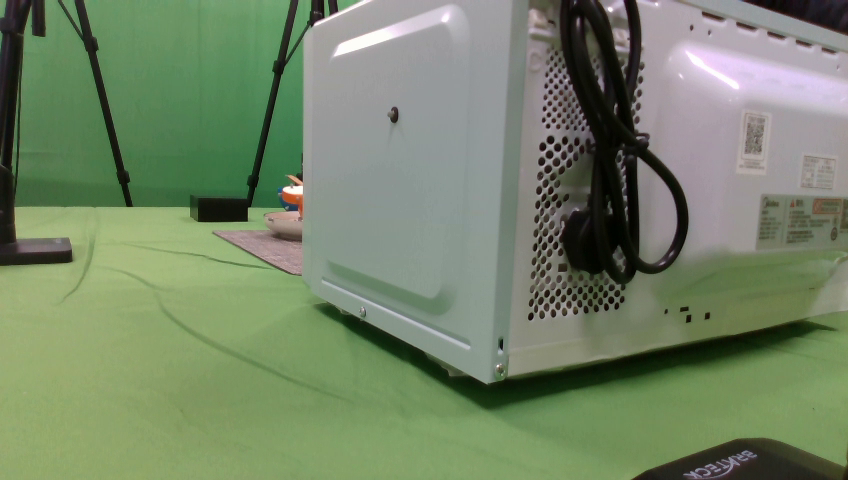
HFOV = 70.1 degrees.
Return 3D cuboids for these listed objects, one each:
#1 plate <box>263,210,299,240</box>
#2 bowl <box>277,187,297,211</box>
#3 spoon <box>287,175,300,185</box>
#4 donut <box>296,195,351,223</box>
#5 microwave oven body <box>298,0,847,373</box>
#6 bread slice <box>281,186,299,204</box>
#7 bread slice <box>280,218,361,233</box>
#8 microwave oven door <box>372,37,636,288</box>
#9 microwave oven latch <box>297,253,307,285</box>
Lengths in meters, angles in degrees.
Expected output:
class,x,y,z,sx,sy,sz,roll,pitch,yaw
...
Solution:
class,x,y,z,sx,sy,sz,roll,pitch,yaw
plate,-0.180,-0.026,1.079,0.208,0.039,0.207,2,7,0
bowl,-0.241,-0.073,1.303,0.151,0.077,0.151,2,7,0
spoon,-0.262,-0.110,1.342,0.042,0.021,0.192,-6,32,-34
donut,-0.179,-0.056,1.078,0.099,0.048,0.099,4,3,0
microwave oven body,0.151,-0.055,0.542,0.444,0.260,0.324,-1,7,-33
bread slice,-0.185,-0.082,1.071,0.132,0.019,0.104,-2,14,-18
bread slice,-0.187,-0.026,1.075,0.135,0.018,0.106,-1,7,-22
microwave oven door,0.109,-0.080,0.686,0.358,0.243,0.039,-2,9,-33
microwave oven latch,-0.082,0.027,0.582,0.079,0.029,0.030,-1,8,-33
